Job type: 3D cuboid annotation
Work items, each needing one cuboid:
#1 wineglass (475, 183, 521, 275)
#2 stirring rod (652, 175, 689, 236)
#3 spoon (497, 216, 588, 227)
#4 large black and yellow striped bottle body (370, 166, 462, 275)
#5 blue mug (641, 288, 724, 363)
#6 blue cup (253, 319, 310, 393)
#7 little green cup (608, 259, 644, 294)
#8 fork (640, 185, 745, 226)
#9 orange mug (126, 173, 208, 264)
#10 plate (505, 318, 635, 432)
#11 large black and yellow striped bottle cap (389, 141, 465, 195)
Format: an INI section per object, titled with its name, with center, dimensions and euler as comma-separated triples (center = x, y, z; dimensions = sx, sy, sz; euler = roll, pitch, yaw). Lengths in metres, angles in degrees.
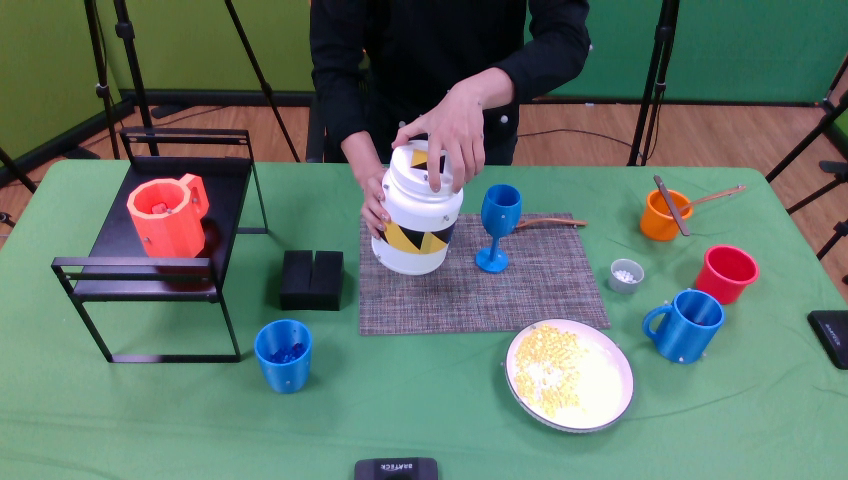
[wineglass]
center = 0.134, -0.020, 1.115
dimensions = 0.074, 0.173, 0.073
euler = 2, 46, -2
[stirring rod]
center = 0.491, -0.072, 1.211
dimensions = 0.014, 0.006, 0.175
euler = -1, 46, -6
[spoon]
center = 0.245, -0.039, 1.247
dimensions = 0.194, 0.022, 0.041
euler = -1, 25, -6
[large black and yellow striped bottle body]
center = -0.012, -0.048, 0.974
dimensions = 0.131, 0.185, 0.130
euler = 8, 44, -8
[blue mug]
center = 0.432, 0.144, 1.033
dimensions = 0.116, 0.106, 0.082
euler = 9, 46, 5
[blue cup]
center = -0.217, 0.187, 0.943
dimensions = 0.093, 0.101, 0.092
euler = 3, 45, -3
[little green cup]
center = 0.379, 0.070, 1.147
dimensions = 0.061, 0.039, 0.061
euler = 3, 45, -3
[fork]
center = 0.534, -0.069, 1.215
dimensions = 0.207, 0.019, 0.028
euler = -26, 28, 33
[orange mug]
center = -0.371, -0.040, 0.902
dimensions = 0.083, 0.101, 0.126
euler = 18, 52, 13
[plate]
center = 0.235, 0.221, 0.991
dimensions = 0.209, 0.038, 0.208
euler = 2, 45, -2
[large black and yellow striped bottle cap]
center = 0.005, -0.110, 0.912
dimensions = 0.115, 0.019, 0.114
euler = 9, 41, -8
